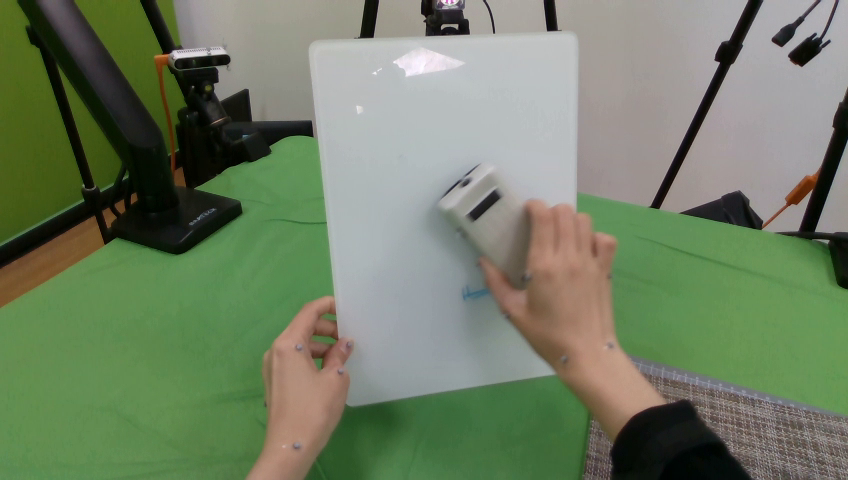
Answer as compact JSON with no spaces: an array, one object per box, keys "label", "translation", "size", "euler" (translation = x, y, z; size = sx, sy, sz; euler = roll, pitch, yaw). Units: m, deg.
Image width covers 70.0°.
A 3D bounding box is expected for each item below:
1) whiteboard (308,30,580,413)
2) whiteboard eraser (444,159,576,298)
[{"label":"whiteboard","translation":[0.016,-0.025,0.569],"size":[0.218,0.306,0.143],"euler":[-6,14,-10]},{"label":"whiteboard eraser","translation":[0.071,-0.009,0.496],"size":[0.055,0.113,0.041],"euler":[-44,20,-1]}]
